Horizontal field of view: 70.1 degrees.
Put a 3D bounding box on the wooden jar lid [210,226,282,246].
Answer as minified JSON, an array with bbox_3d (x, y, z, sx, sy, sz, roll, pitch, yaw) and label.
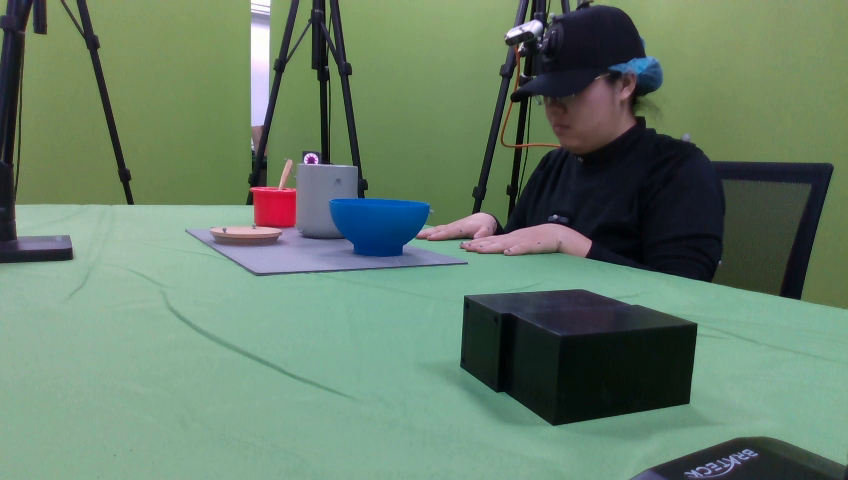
[{"bbox_3d":[-0.279,-0.007,0.951,0.108,0.020,0.108,2,8,0],"label":"wooden jar lid"}]

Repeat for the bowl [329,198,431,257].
[{"bbox_3d":[-0.066,-0.019,0.895,0.151,0.077,0.151,3,7,0],"label":"bowl"}]

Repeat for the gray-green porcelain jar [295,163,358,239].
[{"bbox_3d":[-0.170,-0.069,1.054,0.106,0.126,0.106,3,7,0],"label":"gray-green porcelain jar"}]

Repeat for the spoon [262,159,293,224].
[{"bbox_3d":[-0.289,-0.102,1.227,0.041,0.021,0.193,3,51,3],"label":"spoon"}]
